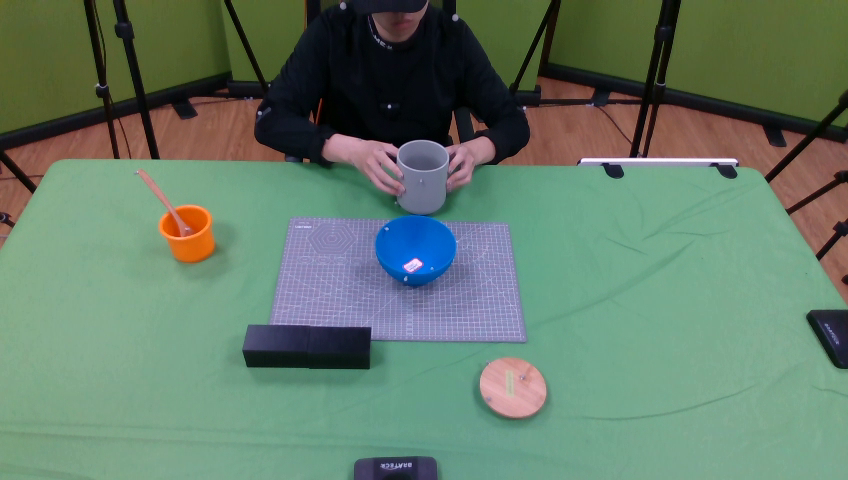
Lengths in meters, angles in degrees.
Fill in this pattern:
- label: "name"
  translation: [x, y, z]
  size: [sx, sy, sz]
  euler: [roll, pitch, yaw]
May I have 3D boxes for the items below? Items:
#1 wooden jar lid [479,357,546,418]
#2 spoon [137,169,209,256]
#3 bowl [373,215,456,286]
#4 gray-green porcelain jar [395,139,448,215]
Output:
- label: "wooden jar lid"
  translation: [0.142, 0.240, 0.979]
  size: [0.108, 0.021, 0.107]
  euler: [1, 46, -1]
- label: "spoon"
  translation: [-0.465, -0.051, 1.123]
  size: [0.041, 0.194, 0.021]
  euler: [-40, 16, -32]
- label: "bowl"
  translation: [-0.019, 0.032, 1.122]
  size: [0.151, 0.077, 0.150]
  euler: [2, 46, -2]
- label: "gray-green porcelain jar"
  translation: [-0.007, -0.124, 1.239]
  size: [0.106, 0.127, 0.105]
  euler: [2, 45, -2]
